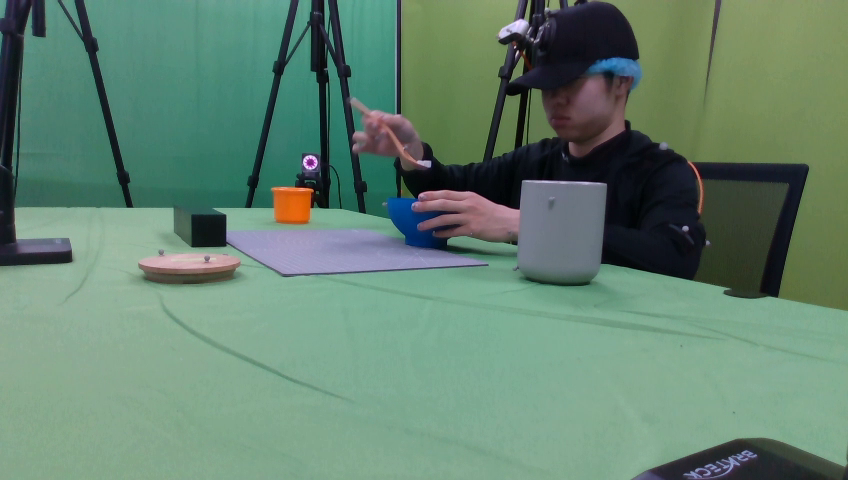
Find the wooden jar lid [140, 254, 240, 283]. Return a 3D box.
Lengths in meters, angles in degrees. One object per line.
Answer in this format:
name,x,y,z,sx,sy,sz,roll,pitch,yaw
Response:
wooden jar lid,-0.269,0.032,0.698,0.108,0.020,0.108,2,5,0

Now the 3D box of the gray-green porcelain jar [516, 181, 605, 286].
gray-green porcelain jar,0.172,-0.010,0.768,0.106,0.126,0.106,2,7,0

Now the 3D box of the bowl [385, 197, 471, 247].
bowl,0.004,-0.030,1.046,0.151,0.077,0.151,5,5,0

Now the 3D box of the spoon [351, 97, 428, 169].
spoon,-0.062,-0.186,1.047,0.193,0.021,0.042,49,16,14
